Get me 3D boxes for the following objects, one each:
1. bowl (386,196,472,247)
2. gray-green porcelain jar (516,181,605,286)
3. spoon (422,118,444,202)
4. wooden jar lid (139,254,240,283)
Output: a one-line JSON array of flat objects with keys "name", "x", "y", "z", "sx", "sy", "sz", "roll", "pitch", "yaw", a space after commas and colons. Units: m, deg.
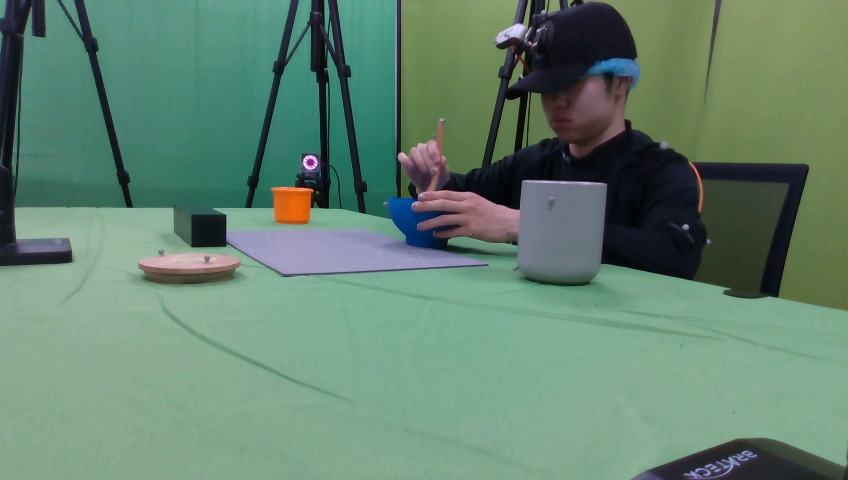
[{"name": "bowl", "x": 0.006, "y": -0.030, "z": 1.048, "sx": 0.151, "sy": 0.077, "sz": 0.151, "roll": 5, "pitch": 6, "yaw": 0}, {"name": "gray-green porcelain jar", "x": 0.172, "y": -0.010, "z": 0.768, "sx": 0.106, "sy": 0.126, "sz": 0.106, "roll": 2, "pitch": 7, "yaw": 0}, {"name": "spoon", "x": 0.016, "y": -0.114, "z": 1.040, "sx": 0.022, "sy": 0.193, "sz": 0.041, "roll": 13, "pitch": -4, "yaw": -20}, {"name": "wooden jar lid", "x": -0.269, "y": 0.032, "z": 0.698, "sx": 0.108, "sy": 0.020, "sz": 0.108, "roll": 2, "pitch": 5, "yaw": 0}]
